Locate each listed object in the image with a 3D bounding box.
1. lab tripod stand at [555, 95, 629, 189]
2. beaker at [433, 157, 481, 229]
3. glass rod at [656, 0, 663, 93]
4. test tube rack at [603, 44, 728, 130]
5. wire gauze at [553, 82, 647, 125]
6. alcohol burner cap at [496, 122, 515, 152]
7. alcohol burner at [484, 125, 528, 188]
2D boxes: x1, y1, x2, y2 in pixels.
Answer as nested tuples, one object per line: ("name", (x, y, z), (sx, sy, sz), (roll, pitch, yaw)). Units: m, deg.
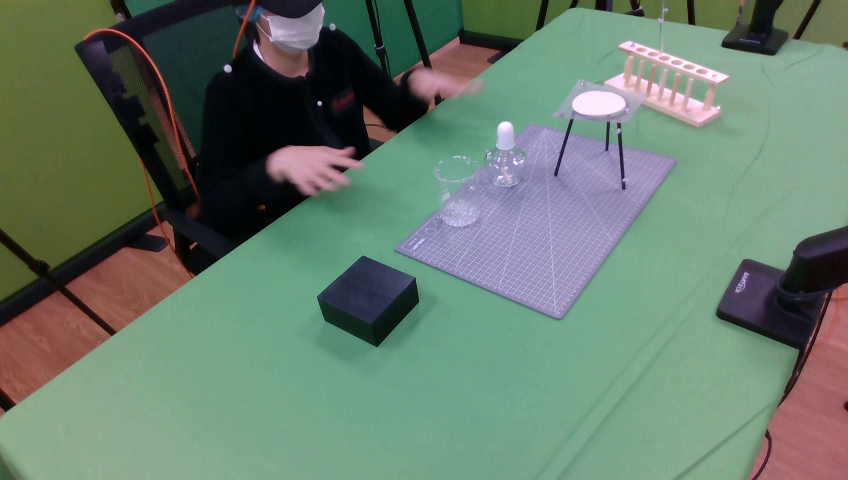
("lab tripod stand", (0.300, -0.174, 1.045), (0.148, 0.132, 0.147), (-5, 38, 5))
("beaker", (0.058, -0.077, 0.994), (0.073, 0.101, 0.084), (19, 46, 29))
("glass rod", (0.469, -0.383, 1.204), (0.008, 0.201, 0.008), (-9, 39, 8))
("test tube rack", (0.480, -0.316, 1.227), (0.067, 0.085, 0.240), (-28, 44, -22))
("wire gauze", (0.293, -0.225, 1.002), (0.120, 0.011, 0.125), (17, 45, 27))
("alcohol burner cap", (0.139, -0.179, 1.037), (0.034, 0.048, 0.033), (-4, 43, 4))
("alcohol burner", (0.144, -0.152, 1.059), (0.078, 0.119, 0.077), (-3, 41, 3))
